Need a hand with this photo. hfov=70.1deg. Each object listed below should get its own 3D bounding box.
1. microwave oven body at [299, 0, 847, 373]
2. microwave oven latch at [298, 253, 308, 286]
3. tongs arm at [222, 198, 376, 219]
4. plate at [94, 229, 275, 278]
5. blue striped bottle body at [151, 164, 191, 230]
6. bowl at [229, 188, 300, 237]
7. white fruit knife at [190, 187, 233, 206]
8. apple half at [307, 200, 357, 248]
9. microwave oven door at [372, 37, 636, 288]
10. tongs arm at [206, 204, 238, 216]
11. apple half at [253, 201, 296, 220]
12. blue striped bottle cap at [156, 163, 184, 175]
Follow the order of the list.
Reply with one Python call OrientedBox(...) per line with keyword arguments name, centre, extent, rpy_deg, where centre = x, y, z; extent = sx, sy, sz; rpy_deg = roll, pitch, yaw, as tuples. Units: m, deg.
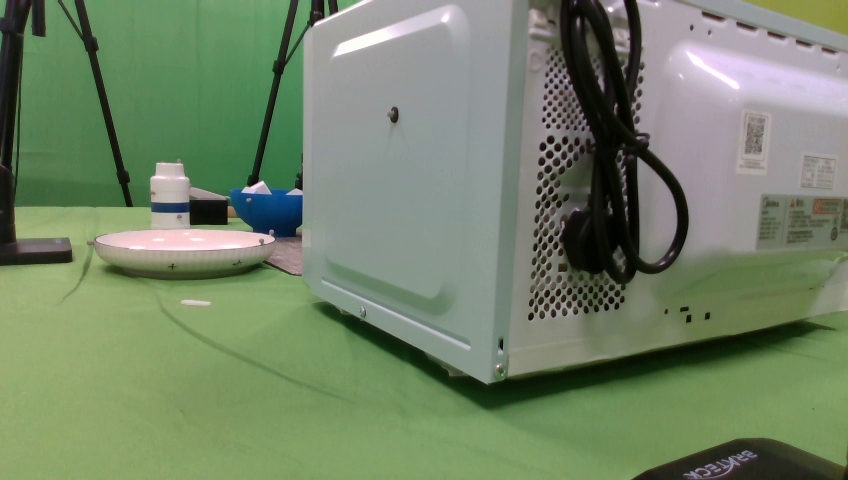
OrientedBox(name="microwave oven body", centre=(0.152, -0.055, 0.542), extent=(0.444, 0.260, 0.324), rpy_deg=(-2, 7, -33))
OrientedBox(name="microwave oven latch", centre=(-0.081, 0.027, 0.582), extent=(0.079, 0.029, 0.030), rpy_deg=(-2, 7, -32))
OrientedBox(name="tongs arm", centre=(-0.309, -0.078, 1.486), extent=(0.385, 0.026, 0.051), rpy_deg=(3, 7, -2))
OrientedBox(name="plate", centre=(-0.291, 0.016, 0.750), extent=(0.208, 0.039, 0.207), rpy_deg=(2, 7, 0))
OrientedBox(name="blue striped bottle body", centre=(-0.439, -0.071, 1.052), extent=(0.063, 0.120, 0.063), rpy_deg=(2, 7, 0))
OrientedBox(name="bowl", centre=(-0.264, -0.048, 1.066), extent=(0.151, 0.077, 0.151), rpy_deg=(2, 8, 0))
OrientedBox(name="white fruit knife", centre=(-0.413, -0.081, 1.270), extent=(0.208, 0.027, 0.016), rpy_deg=(17, 13, -41))
OrientedBox(name="apple half", centre=(-0.136, -0.024, 0.942), extent=(0.053, 0.074, 0.081), rpy_deg=(15, 10, 38))
OrientedBox(name="microwave oven door", centre=(0.110, -0.080, 0.686), extent=(0.358, 0.243, 0.039), rpy_deg=(-2, 9, -33))
OrientedBox(name="tongs arm", centre=(-0.302, -0.066, 1.407), extent=(0.389, 0.028, 0.028), rpy_deg=(1, 4, -14))
OrientedBox(name="apple half", centre=(-0.264, -0.053, 1.066), extent=(0.081, 0.033, 0.081), rpy_deg=(2, 8, 0))
OrientedBox(name="blue striped bottle cap", centre=(-0.439, -0.122, 1.045), extent=(0.044, 0.020, 0.044), rpy_deg=(7, 8, -1))
